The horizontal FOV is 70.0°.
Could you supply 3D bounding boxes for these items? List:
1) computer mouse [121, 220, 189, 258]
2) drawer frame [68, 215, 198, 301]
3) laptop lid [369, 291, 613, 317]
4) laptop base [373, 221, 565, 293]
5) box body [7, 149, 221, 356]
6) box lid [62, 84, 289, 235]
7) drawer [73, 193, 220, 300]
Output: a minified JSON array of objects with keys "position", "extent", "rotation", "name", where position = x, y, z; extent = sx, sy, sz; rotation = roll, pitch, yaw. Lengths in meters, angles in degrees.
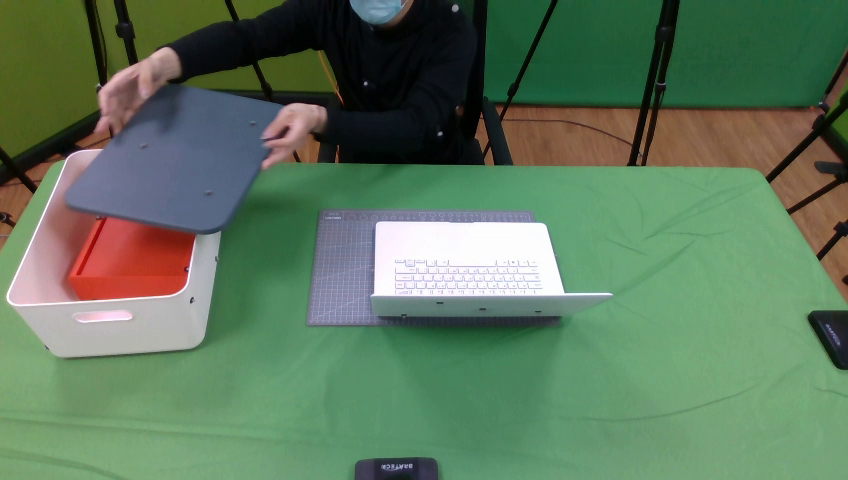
[{"position":[-0.511,-0.004,1.152],"extent":[0.117,0.041,0.062],"rotation":[12,42,-3],"name":"computer mouse"},{"position":[-0.495,0.009,1.102],"extent":[0.202,0.083,0.212],"rotation":[0,47,-5],"name":"drawer frame"},{"position":[0.092,0.104,0.965],"extent":[0.357,0.242,0.013],"rotation":[0,76,-5],"name":"laptop lid"},{"position":[0.080,0.049,1.159],"extent":[0.355,0.023,0.234],"rotation":[0,43,-4],"name":"laptop base"},{"position":[-0.499,0.012,1.051],"extent":[0.254,0.161,0.361],"rotation":[-3,47,-7],"name":"box body"},{"position":[-0.412,-0.156,1.060],"extent":[0.263,0.015,0.369],"rotation":[11,45,1],"name":"box lid"},{"position":[-0.494,0.009,1.104],"extent":[0.195,0.073,0.210],"rotation":[2,45,-6],"name":"drawer"}]
